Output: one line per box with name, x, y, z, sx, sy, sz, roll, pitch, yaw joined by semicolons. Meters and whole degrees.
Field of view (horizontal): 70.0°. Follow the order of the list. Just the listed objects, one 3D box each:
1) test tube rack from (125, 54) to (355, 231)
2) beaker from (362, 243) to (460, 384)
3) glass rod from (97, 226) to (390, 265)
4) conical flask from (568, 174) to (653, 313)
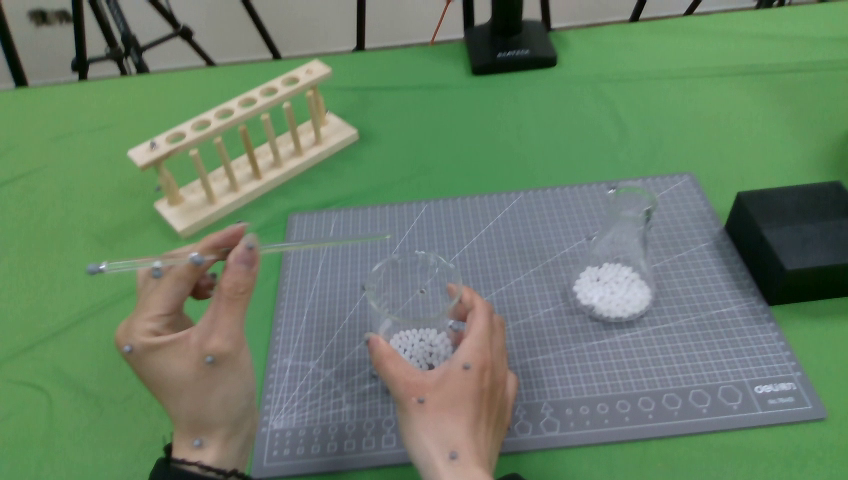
test tube rack;-0.200;-0.117;0.698;0.242;0.086;0.066;-36;53;-25
beaker;-0.008;0.061;0.495;0.073;0.101;0.083;14;45;15
glass rod;-0.098;0.002;0.385;0.201;0.008;0.008;-7;38;-43
conical flask;0.167;0.001;0.521;0.075;0.123;0.074;-3;47;3
